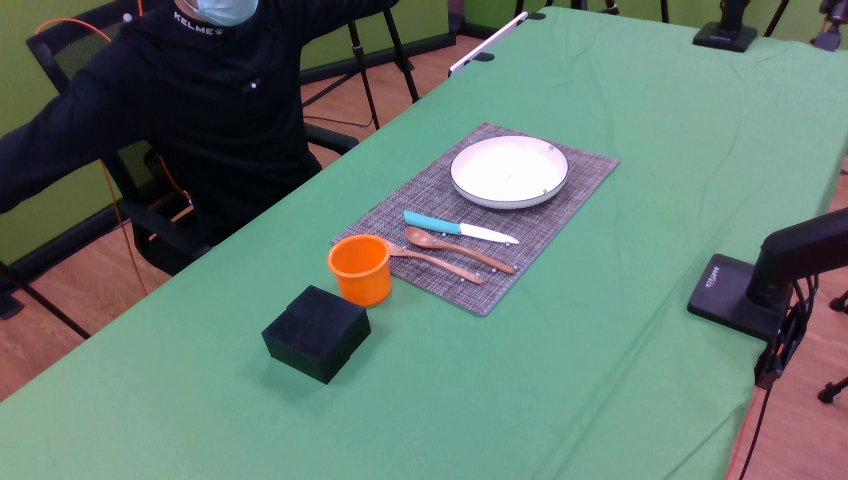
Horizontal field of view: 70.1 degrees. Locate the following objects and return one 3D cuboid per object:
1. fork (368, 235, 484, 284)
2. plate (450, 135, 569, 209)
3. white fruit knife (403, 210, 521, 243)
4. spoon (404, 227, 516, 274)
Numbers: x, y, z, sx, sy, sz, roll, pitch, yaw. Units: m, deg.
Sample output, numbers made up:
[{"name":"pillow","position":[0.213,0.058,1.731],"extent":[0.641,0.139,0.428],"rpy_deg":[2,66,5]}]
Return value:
[{"name":"fork","position":[0.001,0.030,0.930],"extent":[0.206,0.019,0.028],"rpy_deg":[18,39,29]},{"name":"plate","position":[0.149,-0.117,1.066],"extent":[0.209,0.038,0.208],"rpy_deg":[-4,41,4]},{"name":"white fruit knife","position":[0.057,-0.019,0.981],"extent":[0.206,0.016,0.027],"rpy_deg":[12,57,20]},{"name":"spoon","position":[0.053,0.016,0.936],"extent":[0.192,0.022,0.042],"rpy_deg":[18,32,27]}]
